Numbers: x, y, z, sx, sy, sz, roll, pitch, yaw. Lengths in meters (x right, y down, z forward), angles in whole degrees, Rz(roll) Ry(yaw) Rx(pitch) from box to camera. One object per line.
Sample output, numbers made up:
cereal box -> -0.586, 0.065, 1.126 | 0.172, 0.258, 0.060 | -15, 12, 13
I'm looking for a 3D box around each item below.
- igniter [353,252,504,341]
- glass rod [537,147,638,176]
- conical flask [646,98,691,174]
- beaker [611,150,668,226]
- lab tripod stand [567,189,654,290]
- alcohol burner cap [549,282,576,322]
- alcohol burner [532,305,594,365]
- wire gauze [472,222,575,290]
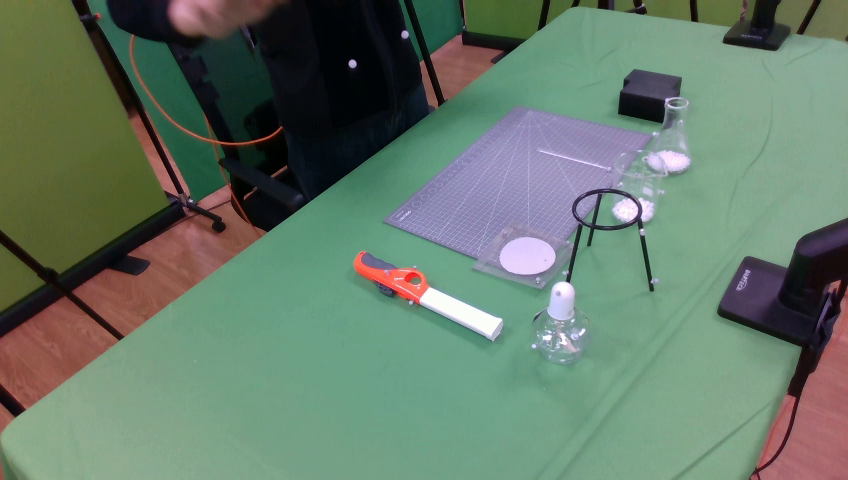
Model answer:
igniter -> -0.005, 0.077, 0.889 | 0.274, 0.025, 0.057 | 23, 59, 33
glass rod -> 0.294, -0.145, 1.104 | 0.198, 0.008, 0.008 | 22, 50, 31
conical flask -> 0.426, -0.180, 1.037 | 0.075, 0.122, 0.075 | -5, 40, 5
beaker -> 0.337, -0.079, 0.953 | 0.083, 0.101, 0.074 | 25, 51, 33
lab tripod stand -> 0.251, 0.003, 0.845 | 0.148, 0.132, 0.147 | -7, 39, 6
alcohol burner cap -> 0.171, 0.073, 0.737 | 0.034, 0.048, 0.033 | -2, 38, 2
alcohol burner -> 0.174, 0.100, 0.761 | 0.078, 0.119, 0.077 | -6, 38, 5
wire gauze -> 0.158, 0.024, 0.933 | 0.120, 0.011, 0.125 | 21, 49, 31
